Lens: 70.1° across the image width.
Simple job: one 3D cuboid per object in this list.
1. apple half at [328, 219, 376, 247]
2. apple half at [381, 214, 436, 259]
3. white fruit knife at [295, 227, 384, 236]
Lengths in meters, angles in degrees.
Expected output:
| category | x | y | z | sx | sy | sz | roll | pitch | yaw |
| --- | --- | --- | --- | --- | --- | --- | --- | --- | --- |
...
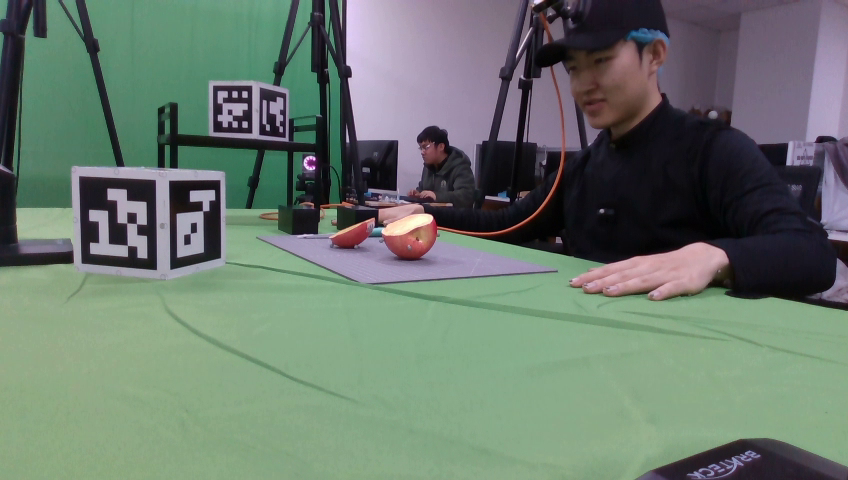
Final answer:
| category | x | y | z | sx | sy | sz | roll | pitch | yaw |
| --- | --- | --- | --- | --- | --- | --- | --- | --- | --- |
| apple half | -0.111 | -0.007 | 0.971 | 0.081 | 0.033 | 0.081 | -17 | 9 | 3 |
| apple half | -0.020 | -0.001 | 0.884 | 0.081 | 0.053 | 0.074 | -25 | 22 | -23 |
| white fruit knife | -0.134 | -0.013 | 1.104 | 0.208 | 0.016 | 0.027 | -3 | -4 | -30 |
